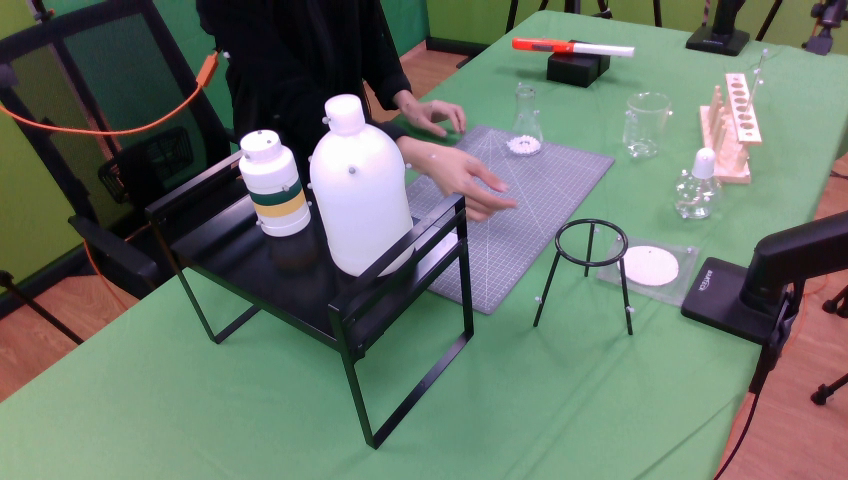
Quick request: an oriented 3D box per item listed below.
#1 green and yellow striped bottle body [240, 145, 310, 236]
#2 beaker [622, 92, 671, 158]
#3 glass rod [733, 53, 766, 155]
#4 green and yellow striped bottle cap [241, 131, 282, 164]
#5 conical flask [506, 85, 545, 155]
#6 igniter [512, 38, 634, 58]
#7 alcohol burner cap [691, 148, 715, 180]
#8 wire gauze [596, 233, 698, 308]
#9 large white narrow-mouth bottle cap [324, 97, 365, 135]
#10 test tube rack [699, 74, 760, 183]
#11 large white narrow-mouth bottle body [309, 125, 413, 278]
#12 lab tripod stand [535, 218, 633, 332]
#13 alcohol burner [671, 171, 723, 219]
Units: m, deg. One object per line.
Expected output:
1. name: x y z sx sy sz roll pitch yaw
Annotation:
1. green and yellow striped bottle body: -0.181 -0.068 0.729 0.063 0.120 0.063 -4 40 4
2. beaker: 0.402 -0.210 1.106 0.074 0.101 0.083 -9 40 -2
3. glass rod: 0.540 -0.220 1.007 0.008 0.201 0.008 -5 46 6
4. green and yellow striped bottle cap: -0.187 -0.107 0.695 0.045 0.020 0.045 -3 39 3
5. conical flask: 0.190 -0.227 1.134 0.075 0.122 0.075 -4 41 4
6. igniter: 0.328 -0.433 1.360 0.275 0.025 0.057 12 33 20
7. alcohol burner cap: 0.432 -0.120 0.930 0.034 0.048 0.033 -7 48 8
8. wire gauze: 0.331 0.038 0.897 0.124 0.011 0.121 18 47 26
9. large white narrow-mouth bottle cap: -0.076 -0.120 0.585 0.038 0.024 0.037 -3 42 3
10. test tube rack: 0.547 -0.208 1.095 0.066 0.085 0.242 6 42 15
11. large white narrow-mouth bottle body: -0.069 -0.057 0.644 0.102 0.195 0.101 -3 42 4
12. lab tripod stand: 0.215 0.050 0.803 0.148 0.132 0.147 -4 43 4
13. alcohol burner: 0.434 -0.093 0.955 0.078 0.119 0.077 -3 43 4
